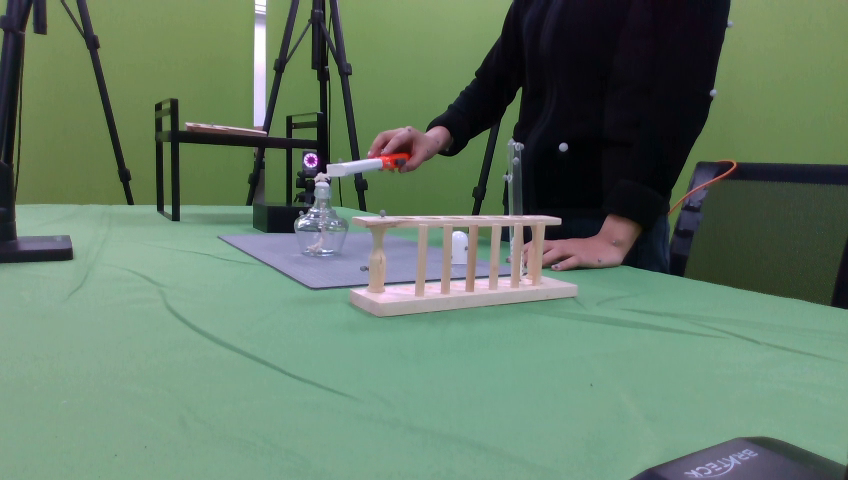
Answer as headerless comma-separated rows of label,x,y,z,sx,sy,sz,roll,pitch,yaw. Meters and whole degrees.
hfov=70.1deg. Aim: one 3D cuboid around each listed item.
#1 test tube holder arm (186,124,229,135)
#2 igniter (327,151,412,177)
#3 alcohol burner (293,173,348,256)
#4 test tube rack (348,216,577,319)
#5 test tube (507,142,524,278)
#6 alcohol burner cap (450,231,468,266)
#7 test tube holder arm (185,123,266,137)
test tube holder arm,-0.465,-0.236,1.300,0.088,0.015,0.010,-2,47,-41
igniter,-0.079,-0.127,0.994,0.057,0.025,0.277,2,12,21
alcohol burner,-0.146,-0.036,0.859,0.078,0.119,0.078,4,8,0
test tube rack,0.048,0.021,0.619,0.244,0.085,0.066,-2,9,-31
test tube,0.101,-0.032,0.666,0.017,0.150,0.017,-2,6,1
alcohol burner cap,0.046,0.012,0.838,0.034,0.048,0.034,3,6,0
test tube holder arm,-0.433,-0.242,1.333,0.179,0.015,0.013,-3,48,-42
